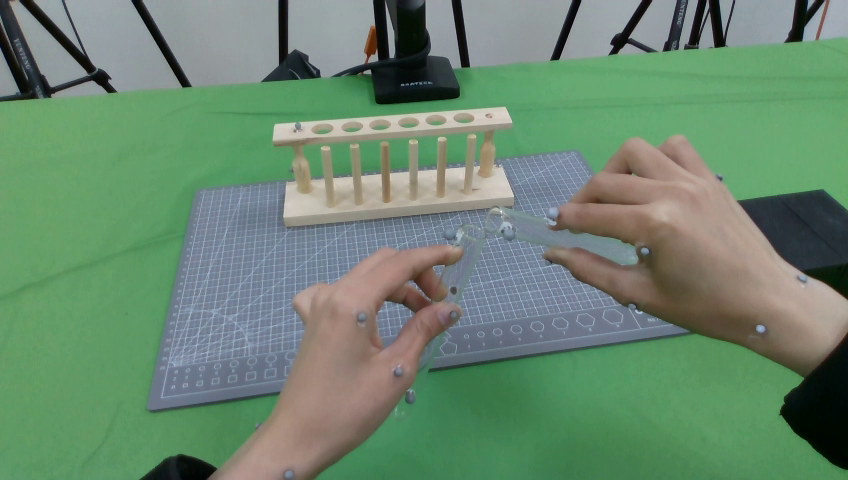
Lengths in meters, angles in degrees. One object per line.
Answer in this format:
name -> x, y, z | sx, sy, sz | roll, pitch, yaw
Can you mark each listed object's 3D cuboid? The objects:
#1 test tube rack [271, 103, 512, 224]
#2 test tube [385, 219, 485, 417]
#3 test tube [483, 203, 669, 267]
test tube rack -> -0.030, -0.081, 0.635 | 0.243, 0.086, 0.066 | -6, 41, -5
test tube -> 0.003, 0.052, 0.359 | 0.017, 0.151, 0.017 | 15, 31, -9
test tube -> 0.096, -0.001, 0.359 | 0.151, 0.017, 0.017 | 11, 31, -33
